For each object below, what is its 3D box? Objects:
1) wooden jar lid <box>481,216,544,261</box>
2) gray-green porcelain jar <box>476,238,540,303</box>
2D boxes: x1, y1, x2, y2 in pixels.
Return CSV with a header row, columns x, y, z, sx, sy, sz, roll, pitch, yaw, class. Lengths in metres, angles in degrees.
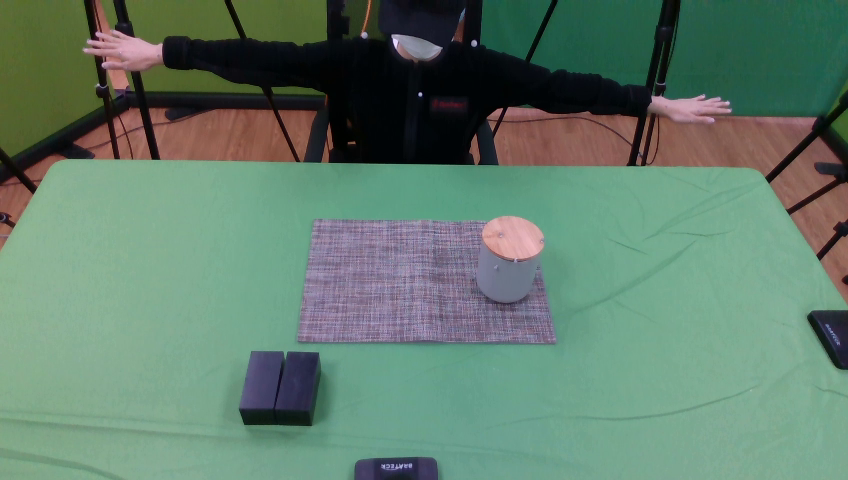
x,y,z,sx,sy,sz,roll,pitch,yaw,class
0.152,0.001,1.045,0.108,0.021,0.107,3,44,-3,wooden jar lid
0.149,0.044,1.090,0.106,0.127,0.105,2,46,-2,gray-green porcelain jar
